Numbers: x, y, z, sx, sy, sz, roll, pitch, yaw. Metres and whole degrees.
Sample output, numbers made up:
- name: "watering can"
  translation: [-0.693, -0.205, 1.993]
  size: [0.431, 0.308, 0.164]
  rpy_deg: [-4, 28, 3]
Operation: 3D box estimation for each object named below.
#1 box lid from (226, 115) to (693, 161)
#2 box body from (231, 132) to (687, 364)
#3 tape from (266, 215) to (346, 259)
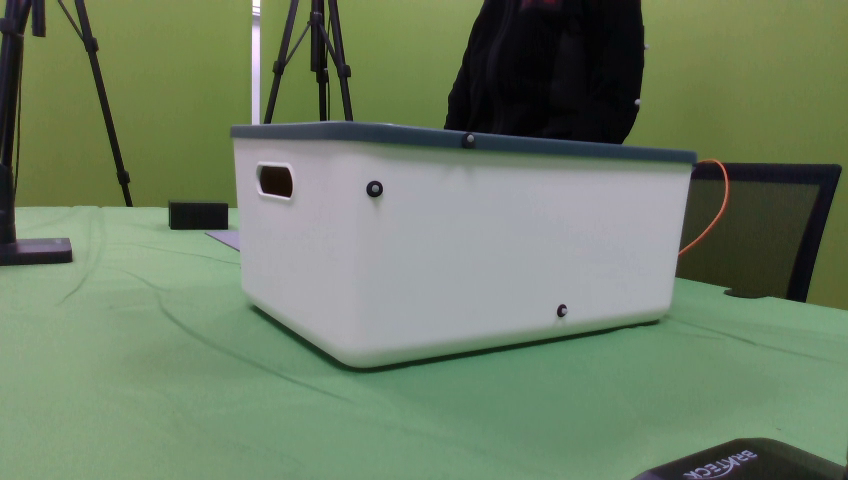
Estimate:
- name: "box lid"
  translation: [0.031, -0.086, 0.554]
  size: [0.373, 0.015, 0.262]
  rpy_deg: [-2, 8, -33]
- name: "box body"
  translation: [0.031, -0.013, 0.563]
  size: [0.366, 0.160, 0.253]
  rpy_deg: [-3, 8, -33]
- name: "tape"
  translation: [-0.168, -0.006, 0.872]
  size: [0.117, 0.052, 0.117]
  rpy_deg: [3, 7, 0]
